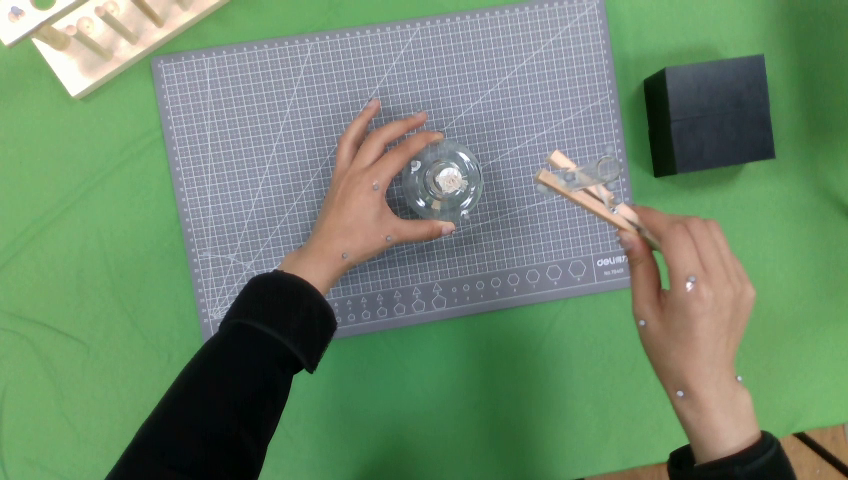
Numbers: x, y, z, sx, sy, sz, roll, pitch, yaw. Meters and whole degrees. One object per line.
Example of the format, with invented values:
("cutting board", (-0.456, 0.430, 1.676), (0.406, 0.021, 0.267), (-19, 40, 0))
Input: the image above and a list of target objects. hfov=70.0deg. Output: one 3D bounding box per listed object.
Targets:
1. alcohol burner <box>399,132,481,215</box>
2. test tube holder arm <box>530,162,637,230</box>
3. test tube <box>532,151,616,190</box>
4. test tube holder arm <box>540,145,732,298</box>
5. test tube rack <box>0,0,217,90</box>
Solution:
("alcohol burner", (0.017, -0.061, 0.554), (0.078, 0.119, 0.078), (0, 93, -6))
("test tube holder arm", (0.116, -0.031, 0.435), (0.088, 0.015, 0.010), (27, 94, -8))
("test tube", (0.099, -0.046, 0.424), (0.017, 0.150, 0.017), (0, 92, -4))
("test tube holder arm", (0.157, -0.012, 0.442), (0.179, 0.015, 0.013), (35, 94, -9))
("test tube rack", (-0.248, -0.235, 0.540), (0.242, 0.085, 0.067), (-34, 94, -2))
